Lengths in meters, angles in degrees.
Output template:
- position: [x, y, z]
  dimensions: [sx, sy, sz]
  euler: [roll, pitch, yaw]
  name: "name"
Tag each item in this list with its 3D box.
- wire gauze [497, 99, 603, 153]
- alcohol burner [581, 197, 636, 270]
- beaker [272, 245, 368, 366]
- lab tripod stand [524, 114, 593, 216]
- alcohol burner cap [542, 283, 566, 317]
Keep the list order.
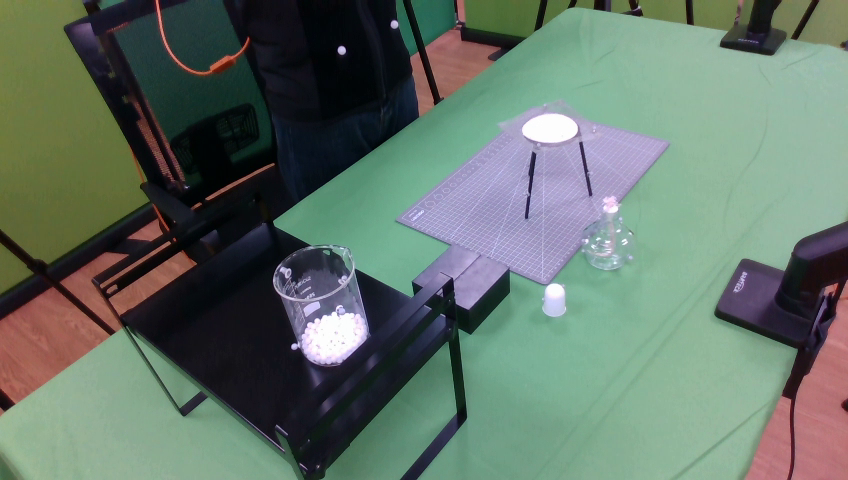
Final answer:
- position: [0.199, -0.181, 0.962]
  dimensions: [0.125, 0.011, 0.120]
  euler: [-20, 43, -13]
  name: "wire gauze"
- position: [0.270, -0.015, 0.882]
  dimensions: [0.078, 0.119, 0.077]
  euler: [-5, 42, 5]
  name: "alcohol burner"
- position: [-0.093, 0.064, 0.578]
  dimensions: [0.073, 0.101, 0.084]
  euler: [21, 48, 29]
  name: "beaker"
- position: [0.210, -0.127, 1.001]
  dimensions: [0.148, 0.132, 0.147]
  euler: [-4, 43, 4]
  name: "lab tripod stand"
- position: [0.181, 0.080, 0.840]
  dimensions: [0.034, 0.048, 0.033]
  euler: [-4, 40, 3]
  name: "alcohol burner cap"
